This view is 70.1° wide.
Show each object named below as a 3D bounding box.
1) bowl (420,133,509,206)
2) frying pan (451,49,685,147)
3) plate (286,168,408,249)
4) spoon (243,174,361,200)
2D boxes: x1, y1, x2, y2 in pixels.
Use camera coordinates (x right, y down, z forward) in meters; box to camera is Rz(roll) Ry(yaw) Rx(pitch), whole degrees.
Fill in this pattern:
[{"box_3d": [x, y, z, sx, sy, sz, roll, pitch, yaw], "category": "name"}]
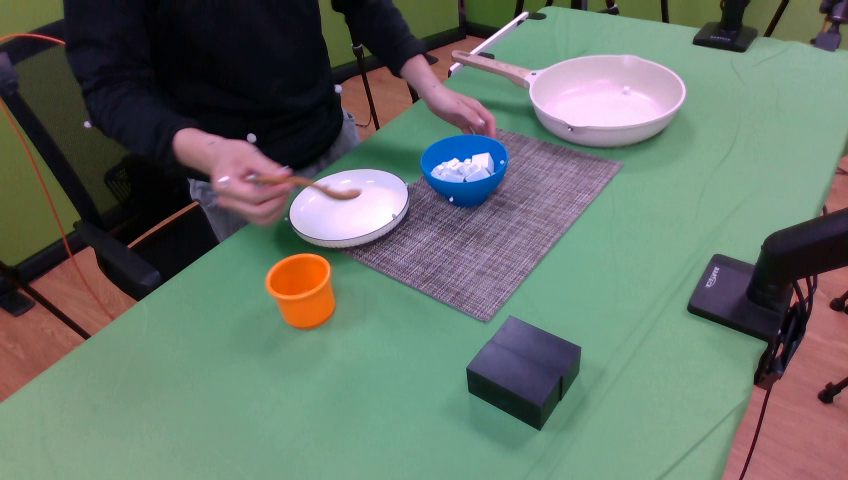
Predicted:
[{"box_3d": [0.071, -0.112, 1.038, 0.151, 0.077, 0.150, -4, 40, 4], "category": "bowl"}, {"box_3d": [0.269, -0.316, 1.233, 0.485, 0.103, 0.307, 26, 49, 21], "category": "frying pan"}, {"box_3d": [-0.127, -0.050, 1.028, 0.207, 0.039, 0.206, -5, 39, 5], "category": "plate"}, {"box_3d": [-0.144, -0.066, 0.735, 0.041, 0.021, 0.195, 6, -1, 32], "category": "spoon"}]
